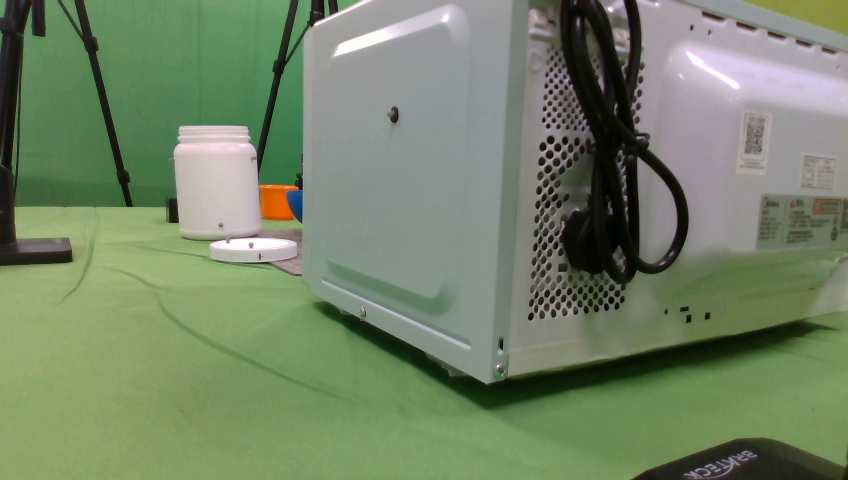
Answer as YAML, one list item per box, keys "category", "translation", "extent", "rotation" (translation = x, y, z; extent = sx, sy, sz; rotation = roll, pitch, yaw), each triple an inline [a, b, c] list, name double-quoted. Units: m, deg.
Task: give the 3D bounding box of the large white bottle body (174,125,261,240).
- category: "large white bottle body"
  translation: [-0.349, -0.100, 1.025]
  extent: [0.131, 0.184, 0.130]
  rotation: [-1, 9, 0]

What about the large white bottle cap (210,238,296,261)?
- category: "large white bottle cap"
  translation: [-0.236, 0.012, 0.839]
  extent: [0.115, 0.018, 0.115]
  rotation: [1, 7, 0]

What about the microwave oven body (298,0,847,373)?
- category: "microwave oven body"
  translation: [0.151, -0.055, 0.543]
  extent: [0.444, 0.260, 0.324]
  rotation: [-1, 7, -33]

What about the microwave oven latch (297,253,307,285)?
- category: "microwave oven latch"
  translation: [-0.082, 0.027, 0.582]
  extent: [0.079, 0.029, 0.030]
  rotation: [-1, 8, -33]

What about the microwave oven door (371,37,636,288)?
- category: "microwave oven door"
  translation: [0.109, -0.080, 0.686]
  extent: [0.358, 0.243, 0.039]
  rotation: [-2, 9, -33]

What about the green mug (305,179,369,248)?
- category: "green mug"
  translation: [-0.133, -0.044, 0.977]
  extent: [0.092, 0.105, 0.126]
  rotation: [6, 8, 32]

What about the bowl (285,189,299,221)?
- category: "bowl"
  translation: [-0.180, -0.050, 1.113]
  extent: [0.151, 0.077, 0.151]
  rotation: [3, 8, 0]

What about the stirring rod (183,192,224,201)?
- category: "stirring rod"
  translation: [-0.474, -0.094, 1.293]
  extent: [0.175, 0.006, 0.014]
  rotation: [12, 5, 44]

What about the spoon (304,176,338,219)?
- category: "spoon"
  translation: [-0.201, -0.084, 1.146]
  extent: [0.042, 0.021, 0.193]
  rotation: [3, 30, -25]
